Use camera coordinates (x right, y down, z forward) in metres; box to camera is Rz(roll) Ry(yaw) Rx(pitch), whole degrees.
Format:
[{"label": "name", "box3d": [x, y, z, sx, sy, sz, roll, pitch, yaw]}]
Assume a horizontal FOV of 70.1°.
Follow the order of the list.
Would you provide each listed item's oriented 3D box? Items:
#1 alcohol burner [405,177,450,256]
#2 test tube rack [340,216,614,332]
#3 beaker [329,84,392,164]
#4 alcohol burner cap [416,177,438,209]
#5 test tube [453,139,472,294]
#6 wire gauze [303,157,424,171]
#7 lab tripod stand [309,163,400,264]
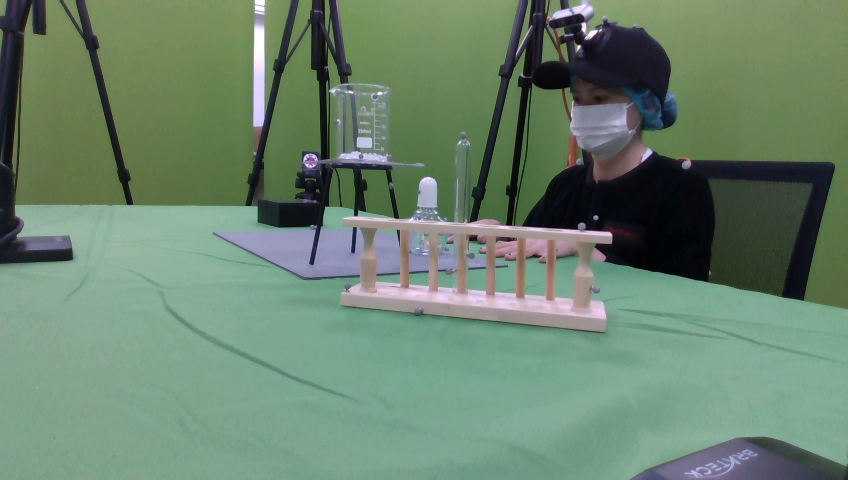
[{"label": "alcohol burner", "box3d": [0.004, -0.036, 0.917, 0.078, 0.119, 0.078, 3, 6, 0]}, {"label": "test tube rack", "box3d": [0.048, 0.026, 0.568, 0.242, 0.085, 0.067, 4, 8, 13]}, {"label": "beaker", "box3d": [-0.084, -0.149, 0.794, 0.084, 0.100, 0.073, -1, 6, -23]}, {"label": "alcohol burner cap", "box3d": [0.005, -0.072, 0.914, 0.034, 0.048, 0.034, 3, 9, 0]}, {"label": "test tube", "box3d": [0.037, -0.021, 0.584, 0.017, 0.150, 0.017, 1, 7, 0]}, {"label": "wire gauze", "box3d": [-0.082, -0.101, 0.799, 0.126, 0.011, 0.121, 1, 7, -30]}, {"label": "lab tripod stand", "box3d": [-0.091, -0.037, 0.813, 0.148, 0.131, 0.148, 1, 6, 0]}]
